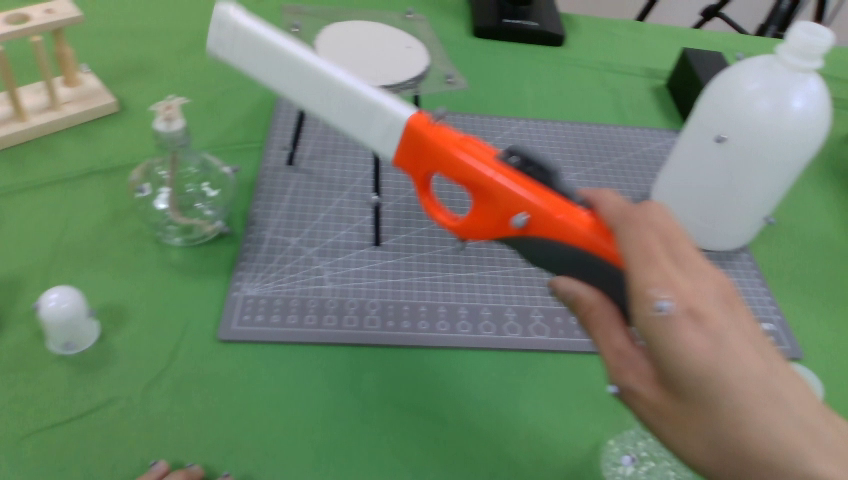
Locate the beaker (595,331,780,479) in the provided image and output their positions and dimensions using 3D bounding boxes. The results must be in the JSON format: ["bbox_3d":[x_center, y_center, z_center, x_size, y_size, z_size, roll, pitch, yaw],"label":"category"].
[{"bbox_3d":[0.149,0.115,0.366,0.084,0.101,0.073,-6,48,-13],"label":"beaker"}]

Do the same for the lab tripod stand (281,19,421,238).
[{"bbox_3d":[-0.052,-0.097,0.499,0.149,0.132,0.147,6,48,-6],"label":"lab tripod stand"}]

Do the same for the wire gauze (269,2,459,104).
[{"bbox_3d":[-0.048,-0.144,0.451,0.122,0.011,0.123,-7,51,-17],"label":"wire gauze"}]

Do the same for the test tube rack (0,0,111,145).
[{"bbox_3d":[-0.403,-0.119,0.497,0.242,0.086,0.066,-31,59,-32],"label":"test tube rack"}]

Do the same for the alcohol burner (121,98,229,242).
[{"bbox_3d":[-0.189,-0.055,0.456,0.078,0.120,0.077,6,45,-6],"label":"alcohol burner"}]

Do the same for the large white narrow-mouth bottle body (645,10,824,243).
[{"bbox_3d":[0.266,-0.094,0.508,0.102,0.196,0.101,4,47,-4],"label":"large white narrow-mouth bottle body"}]

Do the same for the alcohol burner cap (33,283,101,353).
[{"bbox_3d":[-0.237,0.049,0.399,0.034,0.048,0.033,6,46,-6],"label":"alcohol burner cap"}]

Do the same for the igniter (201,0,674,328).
[{"bbox_3d":[-0.001,-0.046,0.297,0.275,0.057,0.025,33,31,13],"label":"igniter"}]

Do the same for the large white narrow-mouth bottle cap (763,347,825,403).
[{"bbox_3d":[0.276,0.101,0.453,0.038,0.024,0.037,5,47,-4],"label":"large white narrow-mouth bottle cap"}]
